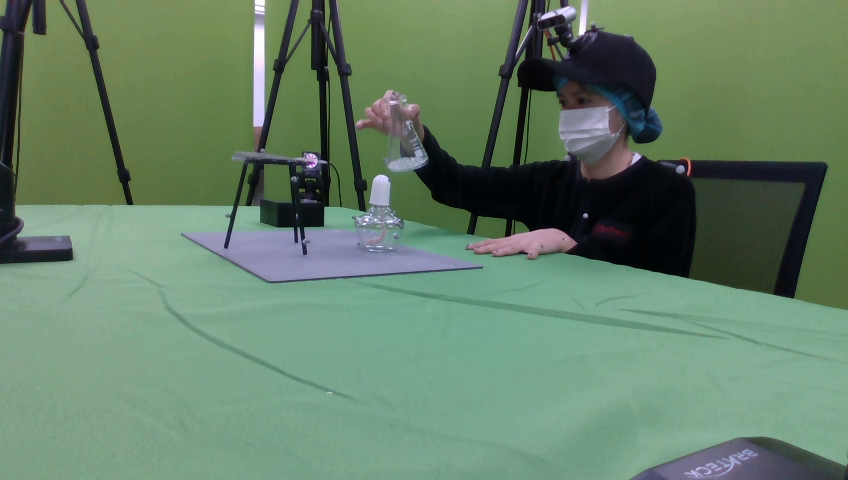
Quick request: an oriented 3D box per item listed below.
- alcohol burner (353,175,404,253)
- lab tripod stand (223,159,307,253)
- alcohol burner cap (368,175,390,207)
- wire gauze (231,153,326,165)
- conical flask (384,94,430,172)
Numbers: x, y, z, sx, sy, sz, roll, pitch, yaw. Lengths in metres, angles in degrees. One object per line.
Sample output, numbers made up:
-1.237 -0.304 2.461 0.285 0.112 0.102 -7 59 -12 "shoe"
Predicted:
-0.069 -0.040 0.926 0.078 0.119 0.078 1 9 0 "alcohol burner"
-0.220 -0.053 0.896 0.148 0.131 0.148 1 6 0 "lab tripod stand"
-0.067 -0.075 0.923 0.034 0.048 0.034 8 11 -1 "alcohol burner cap"
-0.215 -0.118 0.881 0.125 0.011 0.121 1 7 -19 "wire gauze"
-0.037 -0.182 1.021 0.075 0.122 0.075 -11 19 4 "conical flask"
